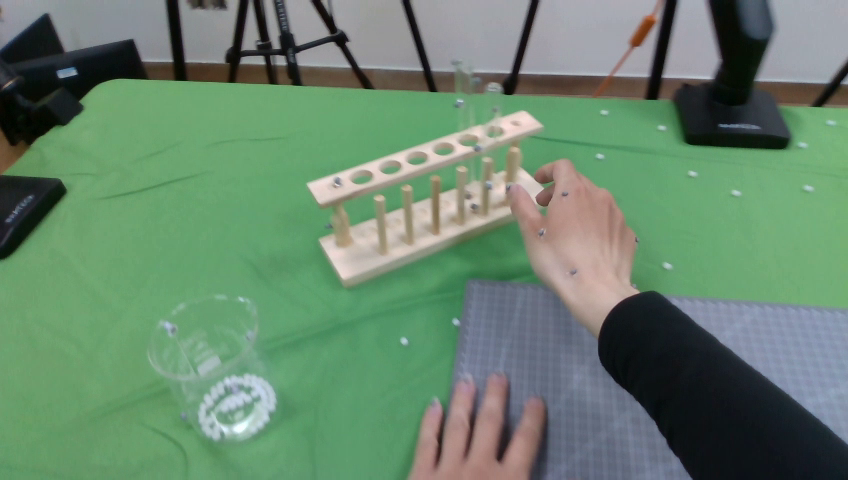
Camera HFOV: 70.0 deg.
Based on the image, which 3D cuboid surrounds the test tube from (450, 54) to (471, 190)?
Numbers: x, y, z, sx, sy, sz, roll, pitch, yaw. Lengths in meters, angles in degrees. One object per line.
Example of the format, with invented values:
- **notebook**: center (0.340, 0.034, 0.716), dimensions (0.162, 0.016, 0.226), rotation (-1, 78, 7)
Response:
- **test tube**: center (0.037, -0.111, 0.601), dimensions (0.017, 0.151, 0.017), rotation (-3, 41, 3)

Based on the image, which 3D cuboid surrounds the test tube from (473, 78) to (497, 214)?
- **test tube**: center (0.057, -0.085, 0.581), dimensions (0.017, 0.152, 0.017), rotation (0, 43, 1)

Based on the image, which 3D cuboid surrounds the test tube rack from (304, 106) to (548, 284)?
- **test tube rack**: center (0.011, -0.049, 0.610), dimensions (0.243, 0.086, 0.066), rotation (-22, 48, -18)

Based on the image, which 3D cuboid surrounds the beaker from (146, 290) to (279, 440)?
- **beaker**: center (-0.152, 0.097, 0.459), dimensions (0.073, 0.101, 0.084), rotation (25, 50, 25)
